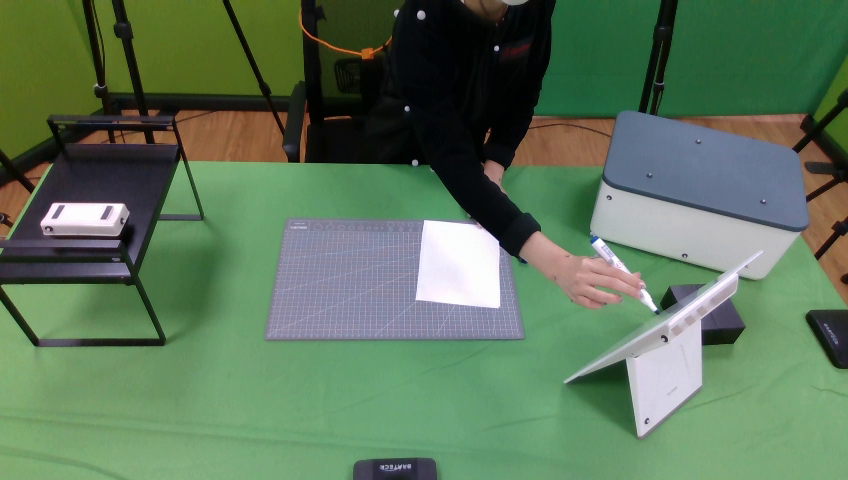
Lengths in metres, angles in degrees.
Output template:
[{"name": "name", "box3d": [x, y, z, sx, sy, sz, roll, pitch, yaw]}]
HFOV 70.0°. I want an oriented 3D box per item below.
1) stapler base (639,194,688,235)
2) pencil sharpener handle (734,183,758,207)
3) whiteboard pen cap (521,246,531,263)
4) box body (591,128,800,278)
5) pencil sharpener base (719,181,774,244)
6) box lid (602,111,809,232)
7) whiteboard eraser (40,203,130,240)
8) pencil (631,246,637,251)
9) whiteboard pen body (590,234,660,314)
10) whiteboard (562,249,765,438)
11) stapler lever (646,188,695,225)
[{"name": "stapler base", "box3d": [0.510, -0.059, 1.278, 0.041, 0.024, 0.129, 0, 39, -30]}, {"name": "pencil sharpener handle", "box3d": [0.663, -0.100, 1.259, 0.036, 0.068, 0.030, 10, 46, 6]}, {"name": "whiteboard pen cap", "box3d": [0.200, 0.029, 1.188, 0.018, 0.018, 0.033, 15, 47, 9]}, {"name": "box body", "box3d": [0.540, -0.092, 1.229, 0.363, 0.161, 0.253, 16, 47, 11]}, {"name": "pencil sharpener base", "box3d": [0.652, -0.056, 1.232, 0.061, 0.107, 0.076, 11, 46, 6]}, {"name": "box lid", "box3d": [0.544, -0.143, 1.176, 0.371, 0.015, 0.262, 15, 47, 11]}, {"name": "whiteboard eraser", "box3d": [-0.513, -0.028, 0.922, 0.113, 0.042, 0.055, 1, 48, -3]}, {"name": "pencil", "box3d": [0.431, -0.060, 1.284, 0.012, 0.012, 0.193, 3, 57, -2]}, {"name": "whiteboard pen body", "box3d": [0.287, 0.050, 0.859, 0.017, 0.017, 0.140, -35, 81, -31]}, {"name": "whiteboard", "box3d": [0.386, 0.175, 0.905, 0.217, 0.306, 0.143, -26, 72, -26]}, {"name": "stapler lever", "box3d": [0.515, -0.078, 1.265, 0.027, 0.040, 0.117, 0, 41, -30]}]
